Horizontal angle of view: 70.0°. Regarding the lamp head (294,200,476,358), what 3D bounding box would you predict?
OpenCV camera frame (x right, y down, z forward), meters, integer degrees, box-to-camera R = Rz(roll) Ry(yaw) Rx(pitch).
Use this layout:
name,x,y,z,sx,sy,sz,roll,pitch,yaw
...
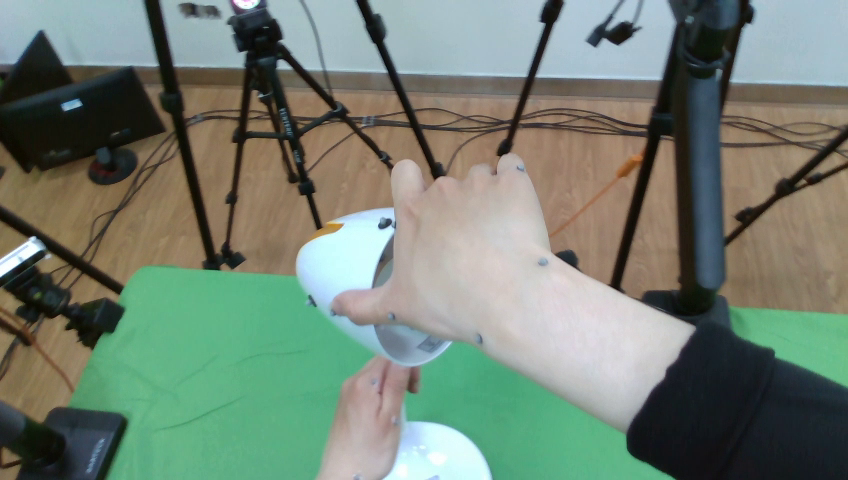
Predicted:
name,x,y,z,sx,sy,sz,roll,pitch,yaw
lamp head,-0.037,0.023,0.458,0.122,0.113,0.112,8,50,45

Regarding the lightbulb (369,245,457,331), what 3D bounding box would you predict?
name,x,y,z,sx,sy,sz,roll,pitch,yaw
lightbulb,-0.024,0.028,0.437,0.106,0.060,0.059,18,56,43

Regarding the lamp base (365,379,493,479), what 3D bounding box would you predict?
name,x,y,z,sx,sy,sz,roll,pitch,yaw
lamp base,-0.007,0.246,0.705,0.160,0.182,0.177,-30,55,-16
